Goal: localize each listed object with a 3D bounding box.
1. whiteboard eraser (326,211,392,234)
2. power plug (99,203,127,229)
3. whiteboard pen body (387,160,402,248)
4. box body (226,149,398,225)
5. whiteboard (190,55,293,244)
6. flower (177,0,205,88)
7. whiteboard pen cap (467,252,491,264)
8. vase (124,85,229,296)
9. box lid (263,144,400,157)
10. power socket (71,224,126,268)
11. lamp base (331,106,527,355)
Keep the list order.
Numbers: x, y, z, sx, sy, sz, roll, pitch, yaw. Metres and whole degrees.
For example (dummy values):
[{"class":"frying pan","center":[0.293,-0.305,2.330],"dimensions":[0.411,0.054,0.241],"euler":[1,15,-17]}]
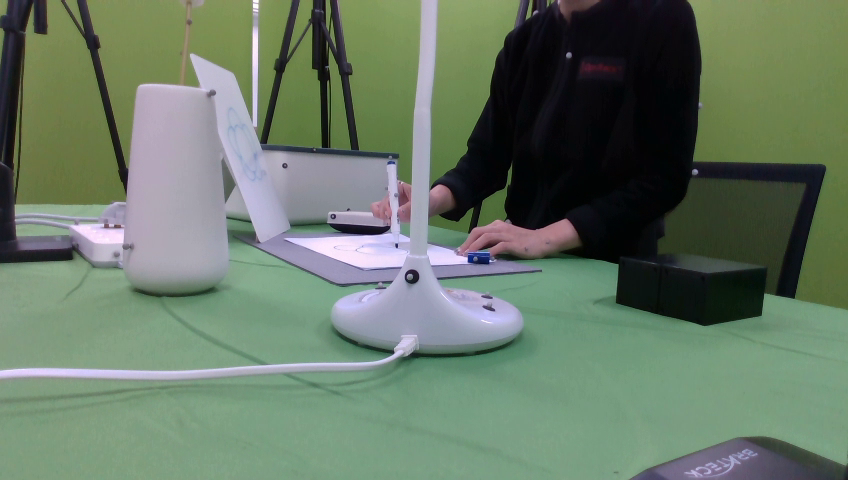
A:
[{"class":"whiteboard eraser","center":[-0.121,-0.033,1.131],"dimensions":[0.112,0.042,0.056],"euler":[4,8,13]},{"class":"power plug","center":[-0.415,-0.026,0.848],"dimensions":[0.073,0.052,0.035],"euler":[6,5,-28]},{"class":"whiteboard pen body","center":[-0.047,-0.057,0.958],"dimensions":[0.017,0.140,0.017],"euler":[-5,-4,0]},{"class":"box body","center":[-0.265,-0.129,1.380],"dimensions":[0.253,0.160,0.366],"euler":[8,9,39]},{"class":"whiteboard","center":[-0.362,-0.129,1.029],"dimensions":[0.144,0.305,0.217],"euler":[-18,7,3]},{"class":"flower","center":[-0.243,-0.131,0.609],"dimensions":[0.044,0.361,0.038],"euler":[-5,-12,11]},{"class":"whiteboard pen cap","center":[0.077,0.025,0.841],"dimensions":[0.033,0.018,0.018],"euler":[1,7,4]},{"class":"vase","center":[-0.244,-0.047,0.598],"dimensions":[0.098,0.200,0.098],"euler":[3,8,0]},{"class":"box lid","center":[-0.263,-0.203,1.369],"dimensions":[0.262,0.015,0.373],"euler":[9,10,39]},{"class":"power socket","center":[-0.409,0.004,0.793],"dimensions":[0.072,0.032,0.225],"euler":[-2,8,-37]},{"class":"lamp base","center":[0.006,-0.012,0.478],"dimensions":[0.161,0.180,0.179],"euler":[2,10,2]}]
